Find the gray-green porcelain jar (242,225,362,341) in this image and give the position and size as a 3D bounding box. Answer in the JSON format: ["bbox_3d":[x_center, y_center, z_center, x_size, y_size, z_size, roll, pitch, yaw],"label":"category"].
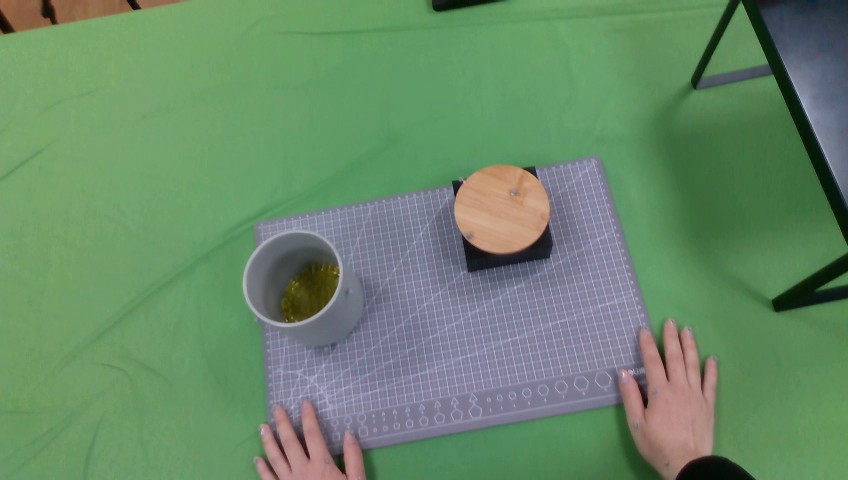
[{"bbox_3d":[-0.129,0.054,0.677,0.106,0.127,0.105,-2,70,5],"label":"gray-green porcelain jar"}]

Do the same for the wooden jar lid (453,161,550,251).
[{"bbox_3d":[0.088,-0.037,0.691,0.108,0.021,0.107,-2,71,6],"label":"wooden jar lid"}]
